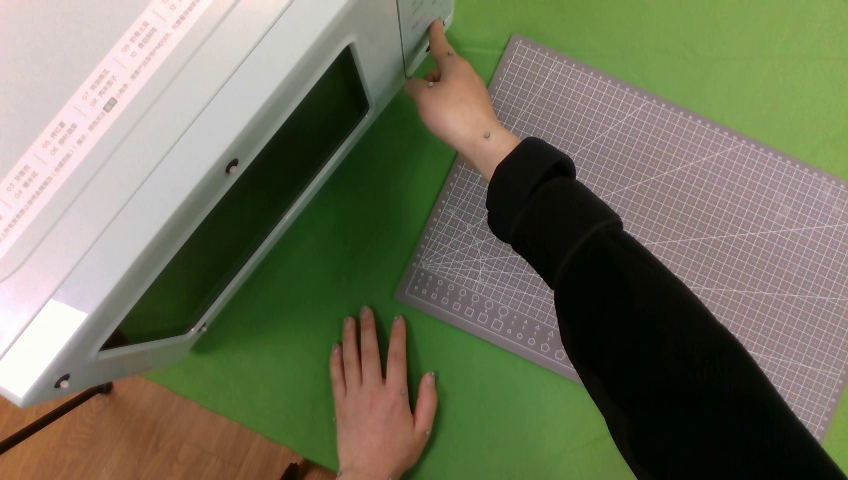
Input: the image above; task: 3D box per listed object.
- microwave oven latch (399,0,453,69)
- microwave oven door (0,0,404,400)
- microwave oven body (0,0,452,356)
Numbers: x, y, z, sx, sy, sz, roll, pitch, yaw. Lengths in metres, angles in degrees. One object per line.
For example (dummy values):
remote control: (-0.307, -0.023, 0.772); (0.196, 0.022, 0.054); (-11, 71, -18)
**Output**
microwave oven latch: (-0.004, -0.208, 0.591); (0.030, 0.029, 0.079); (41, 88, 1)
microwave oven door: (-0.143, -0.043, 0.481); (0.039, 0.244, 0.355); (38, 87, 3)
microwave oven body: (-0.231, -0.166, 0.491); (0.326, 0.260, 0.441); (38, 88, 1)
